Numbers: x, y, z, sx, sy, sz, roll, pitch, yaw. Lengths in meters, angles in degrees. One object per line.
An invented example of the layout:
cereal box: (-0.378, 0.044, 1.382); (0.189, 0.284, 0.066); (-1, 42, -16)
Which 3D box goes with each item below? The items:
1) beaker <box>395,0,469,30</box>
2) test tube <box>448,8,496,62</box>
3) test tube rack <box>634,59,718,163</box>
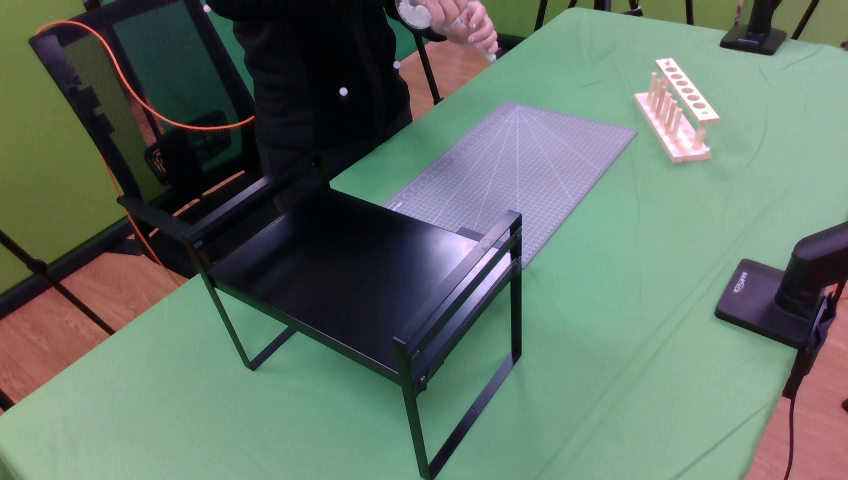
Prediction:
beaker: (0.012, -0.353, 0.876); (0.073, 0.084, 0.100); (24, 49, 29)
test tube: (0.082, -0.332, 0.988); (0.017, 0.151, 0.017); (-9, 71, 30)
test tube rack: (0.470, -0.250, 1.148); (0.067, 0.085, 0.241); (-6, 40, 3)
